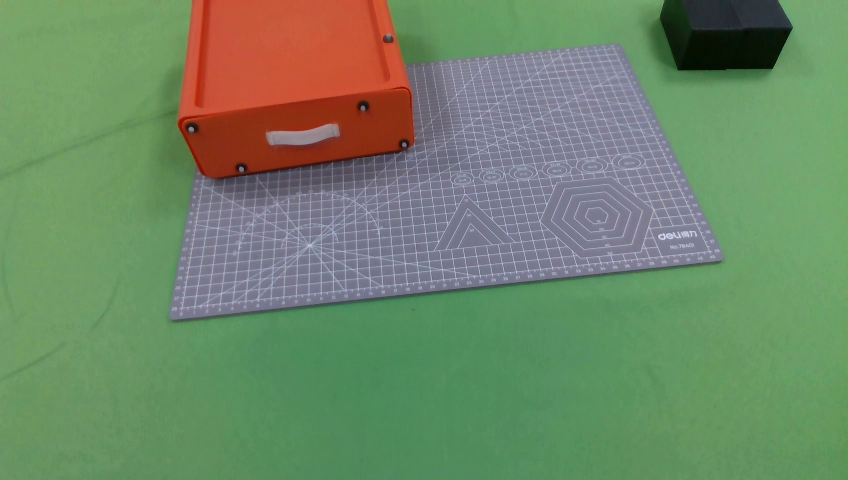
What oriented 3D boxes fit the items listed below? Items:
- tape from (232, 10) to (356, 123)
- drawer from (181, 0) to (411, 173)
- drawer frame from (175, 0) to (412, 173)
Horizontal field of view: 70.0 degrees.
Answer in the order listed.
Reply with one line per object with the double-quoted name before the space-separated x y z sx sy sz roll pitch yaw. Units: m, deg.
"tape" -0.128 -0.175 0.608 0.117 0.053 0.115 -1 55 1
"drawer" -0.126 -0.174 0.600 0.195 0.074 0.209 -10 53 -4
"drawer frame" -0.128 -0.177 0.601 0.202 0.083 0.211 -10 52 -5
